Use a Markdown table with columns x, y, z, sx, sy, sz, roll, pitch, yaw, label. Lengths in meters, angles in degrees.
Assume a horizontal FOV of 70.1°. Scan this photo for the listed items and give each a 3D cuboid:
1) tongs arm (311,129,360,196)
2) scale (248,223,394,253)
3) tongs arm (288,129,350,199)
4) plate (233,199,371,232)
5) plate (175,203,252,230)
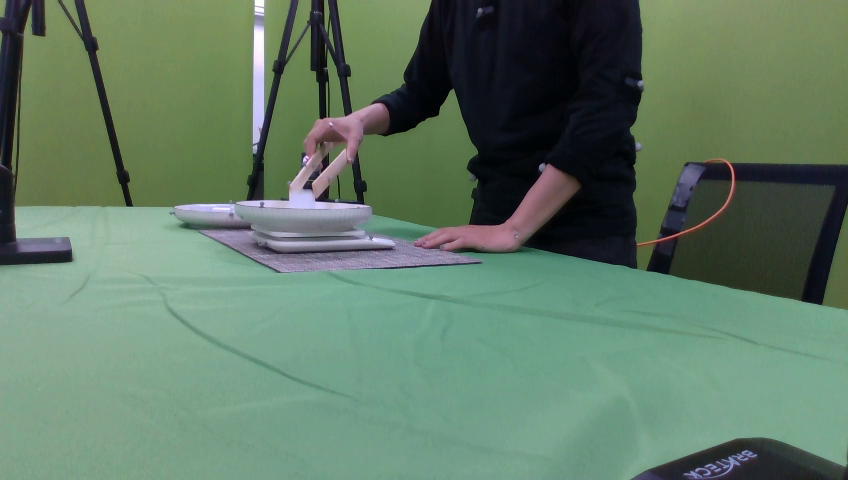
| x | y | z | sx | sy | sz | roll | pitch | yaw | label |
| --- | --- | --- | --- | --- | --- | --- | --- | --- | --- |
| -0.157 | -0.151 | 1.105 | 0.028 | 0.028 | 0.387 | -11 | 21 | 9 | tongs arm |
| -0.162 | -0.006 | 0.954 | 0.202 | 0.031 | 0.148 | -2 | 8 | -32 | scale |
| -0.183 | -0.149 | 1.109 | 0.051 | 0.026 | 0.384 | -9 | 22 | 4 | tongs arm |
| -0.188 | -0.039 | 0.939 | 0.209 | 0.038 | 0.209 | 3 | 7 | 0 | plate |
| -0.381 | -0.047 | 1.199 | 0.208 | 0.039 | 0.207 | 3 | 7 | 0 | plate |
